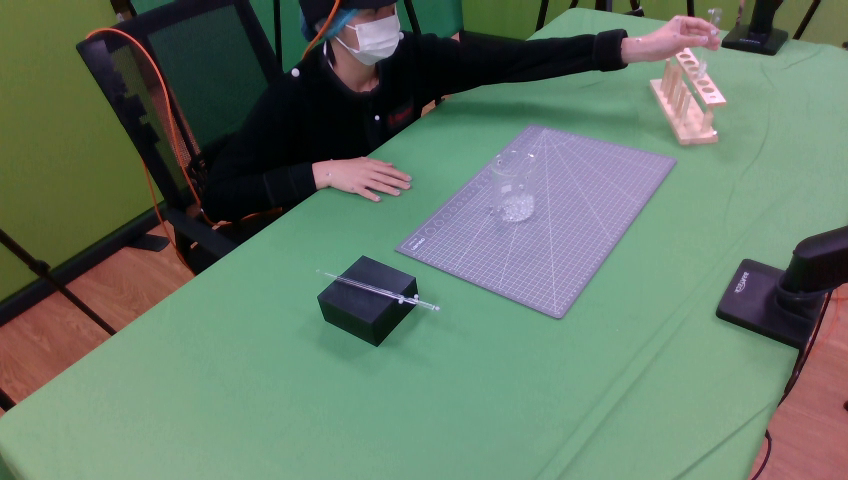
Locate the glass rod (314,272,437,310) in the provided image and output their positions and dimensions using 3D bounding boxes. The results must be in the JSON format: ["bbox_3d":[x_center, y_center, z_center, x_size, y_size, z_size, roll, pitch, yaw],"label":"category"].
[{"bbox_3d":[-0.071,0.069,0.837,0.198,0.008,0.008,14,44,24],"label":"glass rod"}]

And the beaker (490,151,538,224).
[{"bbox_3d":[0.151,-0.084,0.988,0.084,0.101,0.073,-24,43,-20],"label":"beaker"}]

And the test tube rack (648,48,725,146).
[{"bbox_3d":[0.508,-0.285,1.186,0.067,0.085,0.241,-4,40,6],"label":"test tube rack"}]

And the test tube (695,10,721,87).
[{"bbox_3d":[0.520,-0.345,1.114,0.017,0.151,0.017,-1,37,1],"label":"test tube"}]
